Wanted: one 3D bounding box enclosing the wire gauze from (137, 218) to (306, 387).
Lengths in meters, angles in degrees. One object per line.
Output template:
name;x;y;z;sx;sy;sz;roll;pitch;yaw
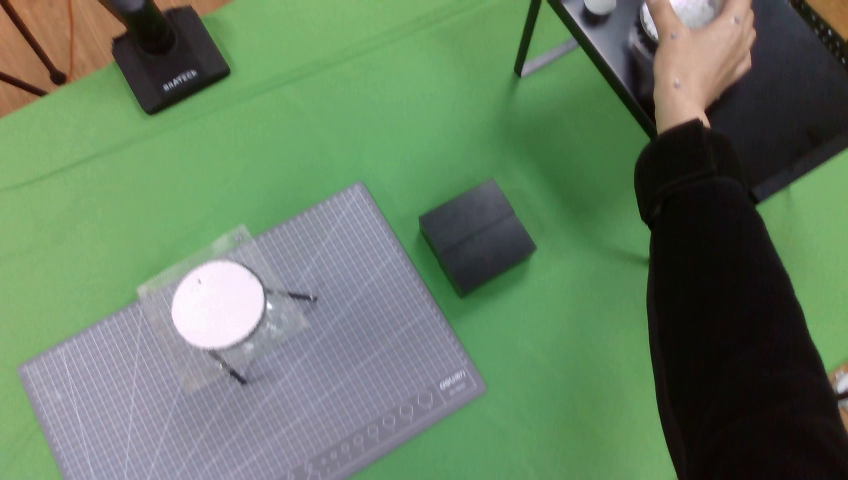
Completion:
wire gauze;-0.195;0.058;0.575;0.125;0.011;0.121;-31;78;-7

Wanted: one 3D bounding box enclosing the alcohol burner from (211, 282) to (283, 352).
alcohol burner;-0.194;0.081;0.650;0.078;0.119;0.077;0;78;1

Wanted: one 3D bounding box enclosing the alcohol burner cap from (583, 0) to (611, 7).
alcohol burner cap;0.174;-0.255;0.589;0.034;0.048;0.033;0;75;-1

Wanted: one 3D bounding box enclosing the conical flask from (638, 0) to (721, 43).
conical flask;0.246;-0.238;0.540;0.075;0.122;0.075;0;77;0

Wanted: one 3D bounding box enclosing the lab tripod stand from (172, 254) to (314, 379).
lab tripod stand;-0.200;0.071;0.642;0.148;0.132;0.147;0;77;2
